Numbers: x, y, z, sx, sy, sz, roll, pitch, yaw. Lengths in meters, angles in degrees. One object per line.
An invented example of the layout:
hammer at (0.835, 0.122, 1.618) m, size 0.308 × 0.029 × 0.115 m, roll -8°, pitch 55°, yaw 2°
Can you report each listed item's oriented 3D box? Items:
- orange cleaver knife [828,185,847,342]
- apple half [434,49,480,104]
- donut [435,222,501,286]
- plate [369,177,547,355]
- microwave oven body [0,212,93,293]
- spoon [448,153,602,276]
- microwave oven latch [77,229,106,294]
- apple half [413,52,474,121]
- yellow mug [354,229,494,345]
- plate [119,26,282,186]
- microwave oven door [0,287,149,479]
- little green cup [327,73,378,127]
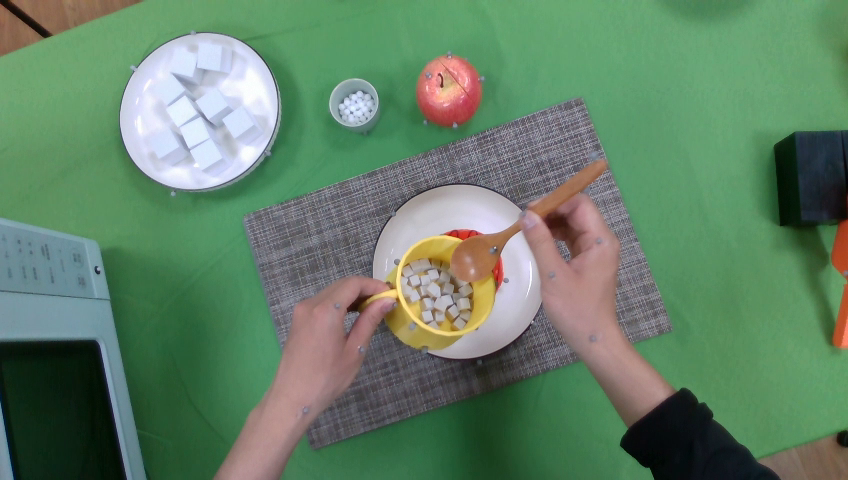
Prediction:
orange cleaver knife at (0.465, 0.010, 0.661) m, size 0.012 × 0.076 × 0.213 m, roll 0°, pitch 115°, yaw 7°
apple half at (0.046, -0.201, 0.729) m, size 0.033 × 0.081 × 0.081 m, roll -40°, pitch 81°, yaw 3°
donut at (0.040, 0.028, 0.706) m, size 0.099 × 0.048 × 0.099 m, roll 0°, pitch 85°, yaw 6°
plate at (0.039, 0.030, 0.717) m, size 0.209 × 0.038 × 0.208 m, roll -1°, pitch 83°, yaw 5°
microwave oven body at (-0.519, 0.225, 0.631) m, size 0.326 × 0.261 × 0.440 m, roll -16°, pitch 83°, yaw 2°
spoon at (0.081, -0.017, 0.525) m, size 0.021 × 0.194 × 0.041 m, roll -29°, pitch 83°, yaw -41°
microwave oven latch at (-0.415, 0.028, 0.742) m, size 0.030 × 0.029 × 0.079 m, roll -15°, pitch 83°, yaw 3°
apple half at (0.017, -0.176, 0.730) m, size 0.053 × 0.075 × 0.080 m, roll -40°, pitch 85°, yaw 4°
yellow mug at (-0.004, 0.050, 0.587) m, size 0.131 × 0.064 × 0.099 m, roll -9°, pitch 73°, yaw -21°
plate at (-0.280, -0.167, 0.772) m, size 0.207 × 0.039 × 0.207 m, roll -1°, pitch 83°, yaw 5°
microwave oven door at (-0.368, 0.224, 0.612) m, size 0.039 × 0.244 × 0.354 m, roll -17°, pitch 82°, yaw 3°
little green cup at (-0.086, -0.172, 0.756) m, size 0.061 × 0.039 × 0.061 m, roll -1°, pitch 83°, yaw 6°
